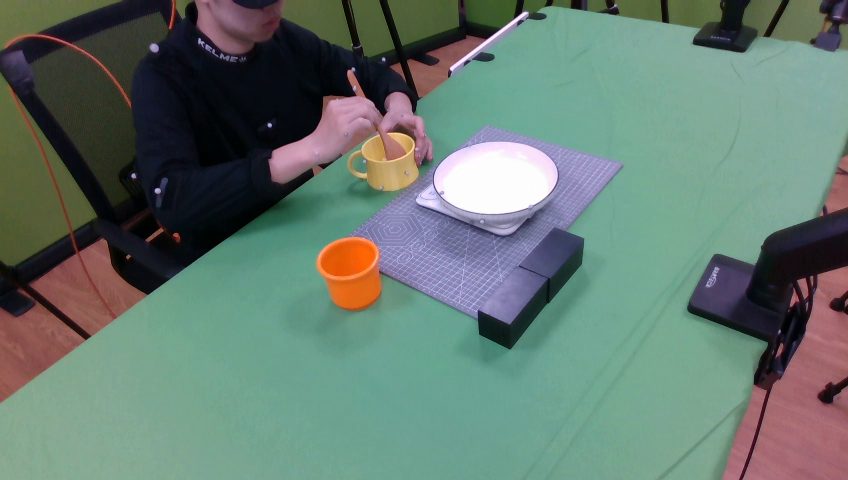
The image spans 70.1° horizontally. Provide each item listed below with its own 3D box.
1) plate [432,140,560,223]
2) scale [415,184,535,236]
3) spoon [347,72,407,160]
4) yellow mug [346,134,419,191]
[{"bbox_3d":[0.118,-0.094,0.999,0.209,0.038,0.208,-4,41,4],"label":"plate"},{"bbox_3d":[0.099,-0.080,1.035,0.199,0.032,0.149,23,48,31],"label":"scale"},{"bbox_3d":[-0.083,-0.203,1.050,0.042,0.195,0.021,-39,23,-15],"label":"spoon"},{"bbox_3d":[-0.079,-0.142,1.115,0.131,0.064,0.099,-7,38,3],"label":"yellow mug"}]
